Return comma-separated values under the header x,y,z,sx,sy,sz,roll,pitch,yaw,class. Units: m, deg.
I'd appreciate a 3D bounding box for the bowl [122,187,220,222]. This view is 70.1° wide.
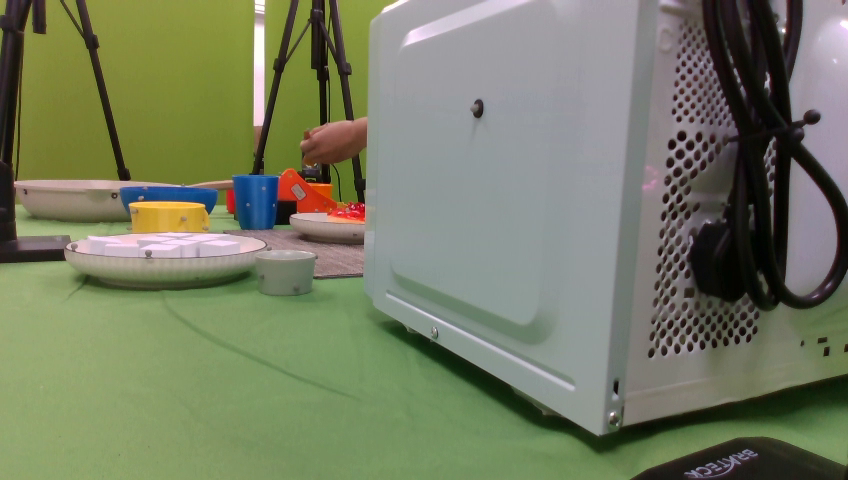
x,y,z,sx,sy,sz,roll,pitch,yaw,class
-0.421,-0.046,1.012,0.151,0.077,0.151,2,7,0,bowl

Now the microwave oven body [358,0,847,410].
x,y,z,sx,sy,sz,roll,pitch,yaw,class
0.210,-0.051,0.471,0.444,0.260,0.324,-1,7,-28,microwave oven body

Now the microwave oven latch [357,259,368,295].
x,y,z,sx,sy,sz,roll,pitch,yaw,class
-0.019,0.031,0.529,0.079,0.029,0.030,-1,7,-26,microwave oven latch

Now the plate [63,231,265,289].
x,y,z,sx,sy,sz,roll,pitch,yaw,class
-0.288,0.021,0.687,0.208,0.039,0.207,2,8,0,plate

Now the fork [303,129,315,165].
x,y,z,sx,sy,sz,roll,pitch,yaw,class
-0.249,-0.197,1.302,0.028,0.018,0.207,15,-17,-5,fork

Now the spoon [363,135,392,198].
x,y,z,sx,sy,sz,roll,pitch,yaw,class
-0.111,-0.170,1.384,0.042,0.193,0.021,-6,-29,-21,spoon

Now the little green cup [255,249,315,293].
x,y,z,sx,sy,sz,roll,pitch,yaw,class
-0.144,0.032,0.627,0.061,0.038,0.061,2,5,0,little green cup

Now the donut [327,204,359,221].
x,y,z,sx,sy,sz,roll,pitch,yaw,class
-0.120,-0.037,1.056,0.099,0.048,0.099,5,6,0,donut

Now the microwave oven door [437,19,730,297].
x,y,z,sx,sy,sz,roll,pitch,yaw,class
0.180,-0.076,0.618,0.358,0.243,0.039,-2,9,-28,microwave oven door

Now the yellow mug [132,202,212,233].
x,y,z,sx,sy,sz,roll,pitch,yaw,class
-0.356,-0.020,0.878,0.099,0.064,0.131,5,7,22,yellow mug

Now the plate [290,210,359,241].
x,y,z,sx,sy,sz,roll,pitch,yaw,class
-0.127,-0.026,1.051,0.209,0.038,0.209,2,7,0,plate

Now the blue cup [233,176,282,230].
x,y,z,sx,sy,sz,roll,pitch,yaw,class
-0.314,-0.071,1.141,0.093,0.100,0.092,0,7,0,blue cup

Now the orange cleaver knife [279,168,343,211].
x,y,z,sx,sy,sz,roll,pitch,yaw,class
-0.236,-0.083,1.332,0.212,0.077,0.012,31,-11,-31,orange cleaver knife

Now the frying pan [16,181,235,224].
x,y,z,sx,sy,sz,roll,pitch,yaw,class
-0.554,-0.097,1.266,0.490,0.102,0.305,-10,13,-24,frying pan
